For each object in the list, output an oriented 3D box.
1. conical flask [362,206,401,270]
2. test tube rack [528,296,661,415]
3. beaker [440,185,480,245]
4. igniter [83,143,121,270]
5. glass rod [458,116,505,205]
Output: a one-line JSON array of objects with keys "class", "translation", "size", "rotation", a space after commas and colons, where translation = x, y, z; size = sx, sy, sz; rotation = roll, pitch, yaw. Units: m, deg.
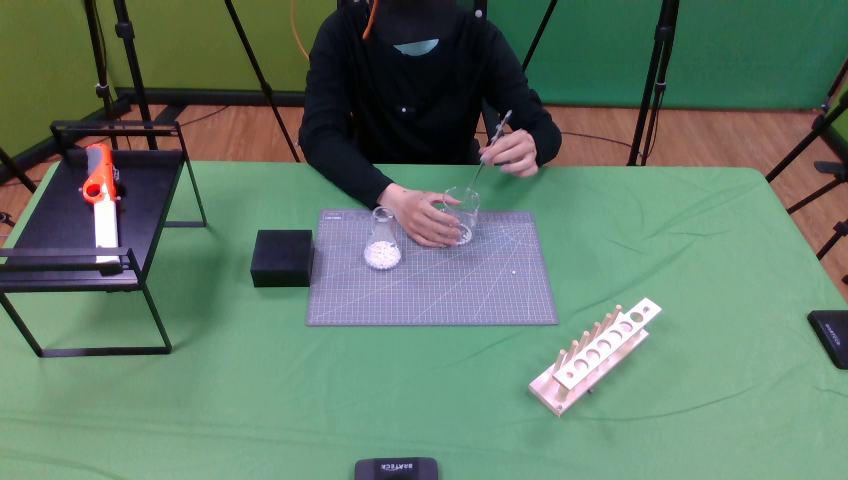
[{"class": "conical flask", "translation": [-0.078, -0.008, 1.127], "size": [0.075, 0.122, 0.075], "rotation": [2, 46, -2]}, {"class": "test tube rack", "translation": [0.285, 0.178, 1.005], "size": [0.242, 0.085, 0.066], "rotation": [-31, 56, -29]}, {"class": "beaker", "translation": [0.070, -0.044, 1.189], "size": [0.074, 0.101, 0.083], "rotation": [-24, 53, -24]}, {"class": "igniter", "translation": [-0.509, -0.063, 0.961], "size": [0.057, 0.025, 0.274], "rotation": [-14, 53, -18]}, {"class": "glass rod", "translation": [0.104, -0.142, 1.112], "size": [0.008, 0.200, 0.008], "rotation": [17, 36, -13]}]
